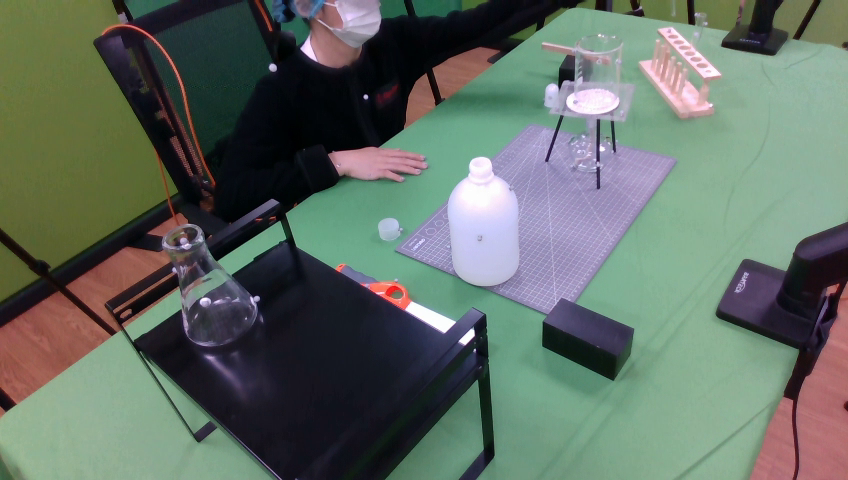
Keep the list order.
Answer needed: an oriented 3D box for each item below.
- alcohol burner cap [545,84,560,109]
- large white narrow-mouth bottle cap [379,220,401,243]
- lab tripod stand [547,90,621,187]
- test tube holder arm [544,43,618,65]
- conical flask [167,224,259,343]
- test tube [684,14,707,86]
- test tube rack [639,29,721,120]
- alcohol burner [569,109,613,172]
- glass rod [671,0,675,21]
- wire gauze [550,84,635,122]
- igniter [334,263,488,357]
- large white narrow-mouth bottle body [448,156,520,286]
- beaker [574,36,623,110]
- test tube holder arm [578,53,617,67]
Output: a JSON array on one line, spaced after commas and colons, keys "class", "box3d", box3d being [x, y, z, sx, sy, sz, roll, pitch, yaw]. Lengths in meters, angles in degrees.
[{"class": "alcohol burner cap", "box3d": [0.274, -0.307, 1.286, 0.034, 0.048, 0.033, -5, 41, 5]}, {"class": "large white narrow-mouth bottle cap", "box3d": [-0.057, -0.015, 1.011, 0.038, 0.024, 0.037, -4, 40, 4]}, {"class": "lab tripod stand", "box3d": [0.289, -0.184, 1.062, 0.148, 0.132, 0.147, -6, 41, 6]}, {"class": "test tube holder arm", "box3d": [0.345, -0.413, 1.341, 0.177, 0.015, 0.013, 25, 50, 32]}, {"class": "conical flask", "box3d": [-0.220, 0.041, 0.613, 0.075, 0.122, 0.075, -5, 40, 4]}, {"class": "test tube", "box3d": [0.541, -0.379, 1.216, 0.017, 0.151, 0.017, -2, 43, 2]}, {"class": "test tube rack", "box3d": [0.527, -0.351, 1.262, 0.067, 0.085, 0.241, -8, 40, 1]}, {"class": "alcohol burner", "box3d": [0.298, -0.181, 1.073, 0.078, 0.119, 0.077, -5, 43, 5]}, {"class": "glass rod", "box3d": [0.470, -0.517, 1.147, 0.008, 0.201, 0.008, -12, 32, 8]}, {"class": "wire gauze", "box3d": [0.285, -0.234, 1.021, 0.124, 0.011, 0.121, 8, 41, 24]}, {"class": "igniter", "box3d": [-0.030, 0.095, 0.872, 0.274, 0.025, 0.057, 23, 60, 31]}, {"class": "large white narrow-mouth bottle body", "box3d": [0.086, -0.032, 0.869, 0.102, 0.195, 0.101, -4, 40, 4]}, {"class": "beaker", "box3d": [0.285, -0.273, 0.990, 0.073, 0.101, 0.084, 15, 46, 27]}, {"class": "test tube holder arm", "box3d": [0.376, -0.393, 1.314, 0.087, 0.015, 0.010, 26, 50, 32]}]
